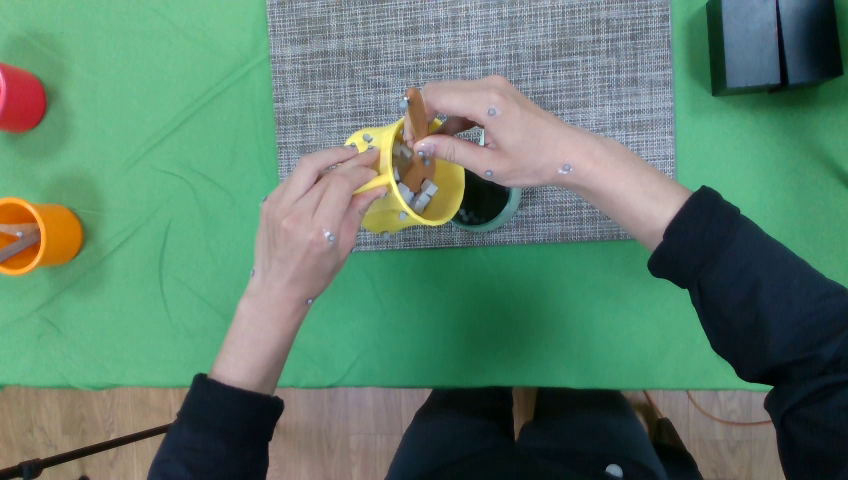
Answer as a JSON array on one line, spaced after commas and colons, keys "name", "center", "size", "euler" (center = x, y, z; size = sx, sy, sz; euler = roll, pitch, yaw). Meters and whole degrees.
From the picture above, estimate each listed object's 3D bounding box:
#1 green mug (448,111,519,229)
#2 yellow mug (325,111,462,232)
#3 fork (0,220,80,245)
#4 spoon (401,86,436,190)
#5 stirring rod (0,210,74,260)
[{"name": "green mug", "center": [0.058, -0.073, 0.637], "size": [0.092, 0.105, 0.125], "euler": [14, 96, 8]}, {"name": "yellow mug", "center": [-0.030, -0.056, 0.531], "size": [0.063, 0.131, 0.100], "euler": [-9, 100, 41]}, {"name": "fork", "center": [-0.523, -0.020, 0.711], "size": [0.209, 0.018, 0.028], "euler": [11, 93, -36]}, {"name": "spoon", "center": [-0.004, -0.078, 0.483], "size": [0.021, 0.194, 0.041], "euler": [42, 83, 6]}, {"name": "stirring rod", "center": [-0.499, 0.015, 0.716], "size": [0.014, 0.006, 0.176], "euler": [48, 57, 2]}]
